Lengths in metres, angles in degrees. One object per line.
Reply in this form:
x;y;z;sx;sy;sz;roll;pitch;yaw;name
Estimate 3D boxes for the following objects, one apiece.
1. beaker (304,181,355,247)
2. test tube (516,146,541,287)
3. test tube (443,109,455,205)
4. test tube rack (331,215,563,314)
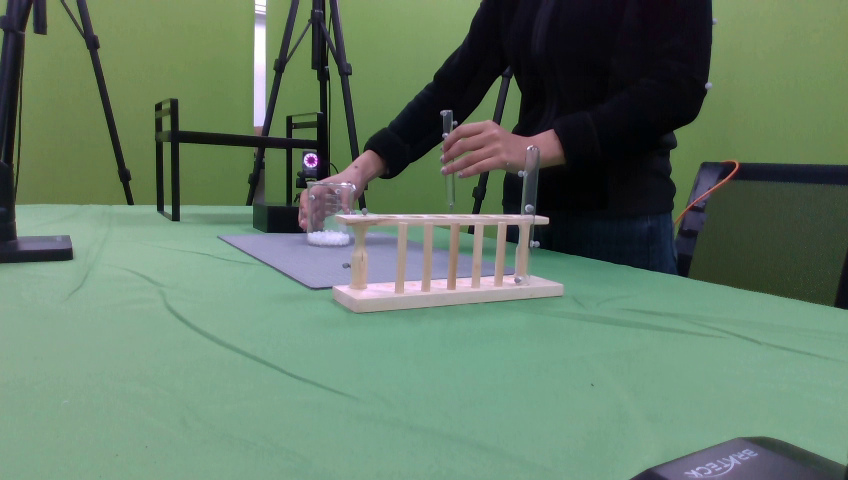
-0.149;-0.041;0.956;0.084;0.100;0.074;6;8;21;beaker
0.110;-0.024;0.638;0.017;0.150;0.017;4;6;0;test tube
0.039;-0.129;0.949;0.017;0.150;0.017;-2;15;1;test tube
0.031;0.019;0.625;0.243;0.085;0.066;-1;8;-28;test tube rack
